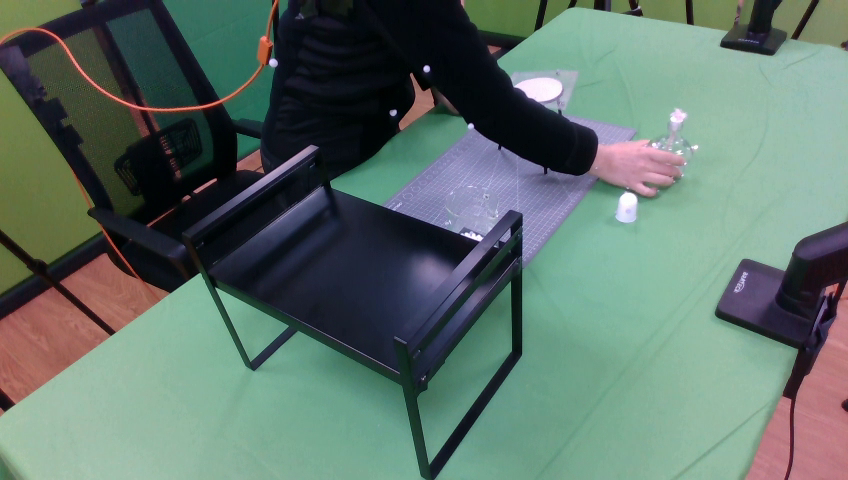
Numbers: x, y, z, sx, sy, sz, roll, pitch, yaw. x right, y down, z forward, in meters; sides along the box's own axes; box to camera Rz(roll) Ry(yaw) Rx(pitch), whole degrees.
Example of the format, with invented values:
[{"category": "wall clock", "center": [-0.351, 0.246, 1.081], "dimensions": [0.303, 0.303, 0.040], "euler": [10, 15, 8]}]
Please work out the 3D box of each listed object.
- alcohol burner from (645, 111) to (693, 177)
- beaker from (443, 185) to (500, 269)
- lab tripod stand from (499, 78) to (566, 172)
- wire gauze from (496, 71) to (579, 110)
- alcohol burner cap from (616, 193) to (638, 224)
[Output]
[{"category": "alcohol burner", "center": [0.423, -0.168, 1.036], "dimensions": [0.078, 0.119, 0.077], "euler": [-1, 39, 1]}, {"category": "beaker", "center": [0.072, -0.015, 0.845], "dimensions": [0.074, 0.101, 0.083], "euler": [-35, 48, -28]}, {"category": "lab tripod stand", "center": [0.204, -0.216, 1.107], "dimensions": [0.148, 0.132, 0.147], "euler": [-6, 41, 5]}, {"category": "wire gauze", "center": [0.200, -0.268, 1.065], "dimensions": [0.124, 0.011, 0.121], "euler": [10, 44, 22]}, {"category": "alcohol burner cap", "center": [0.328, -0.053, 0.974], "dimensions": [0.034, 0.048, 0.033], "euler": [-4, 38, 4]}]
